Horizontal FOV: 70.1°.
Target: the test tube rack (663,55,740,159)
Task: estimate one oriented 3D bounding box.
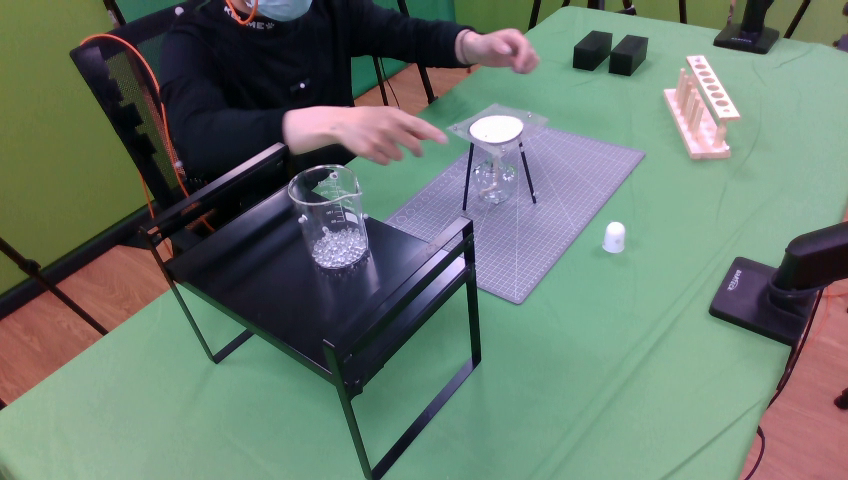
[{"bbox_3d":[0.518,-0.256,1.144,0.066,0.085,0.241,-1,41,8],"label":"test tube rack"}]

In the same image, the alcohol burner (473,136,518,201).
[{"bbox_3d":[0.121,-0.125,1.023,0.078,0.119,0.077,-3,41,3],"label":"alcohol burner"}]

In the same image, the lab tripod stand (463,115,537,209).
[{"bbox_3d":[0.120,-0.134,1.018,0.148,0.132,0.147,-5,39,5],"label":"lab tripod stand"}]

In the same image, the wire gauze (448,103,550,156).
[{"bbox_3d":[0.119,-0.184,0.973,0.122,0.011,0.124,-34,45,-28],"label":"wire gauze"}]

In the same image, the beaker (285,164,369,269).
[{"bbox_3d":[-0.101,-0.024,0.676,0.083,0.101,0.074,8,43,17],"label":"beaker"}]

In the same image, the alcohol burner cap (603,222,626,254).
[{"bbox_3d":[0.291,-0.006,0.921,0.034,0.048,0.033,-4,40,4],"label":"alcohol burner cap"}]
